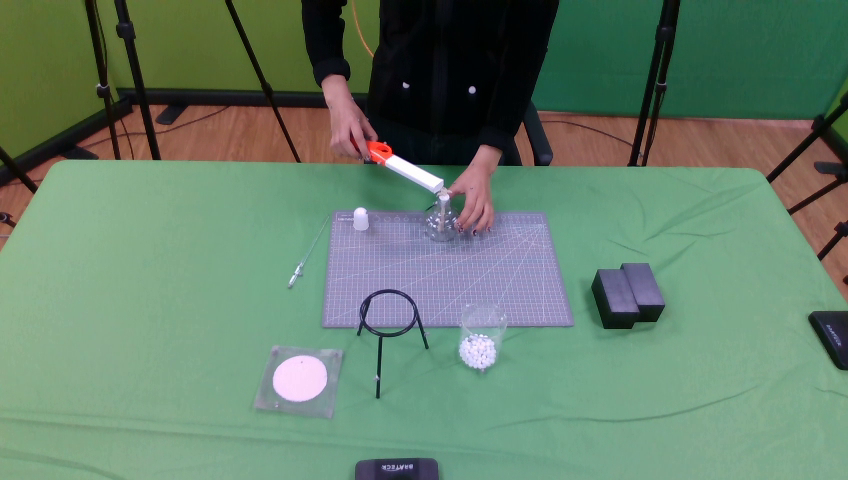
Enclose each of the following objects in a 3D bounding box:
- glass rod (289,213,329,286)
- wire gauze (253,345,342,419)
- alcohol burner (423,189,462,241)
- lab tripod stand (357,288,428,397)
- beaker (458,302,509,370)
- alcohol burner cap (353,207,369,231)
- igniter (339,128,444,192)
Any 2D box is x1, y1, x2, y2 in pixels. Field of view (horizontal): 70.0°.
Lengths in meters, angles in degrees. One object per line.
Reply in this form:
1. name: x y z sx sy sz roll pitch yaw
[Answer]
1. glass rod: -0.221 0.014 1.179 0.008 0.008 0.199 12 46 8
2. wire gauze: -0.200 0.224 0.979 0.125 0.011 0.121 7 47 0
3. alcohol burner: 0.036 -0.055 1.186 0.078 0.120 0.077 1 48 -1
4. lab tripod stand: -0.058 0.155 0.967 0.148 0.132 0.147 3 47 -3
5. beaker: 0.092 0.159 0.999 0.083 0.101 0.074 35 53 28
6. alcohol burner cap: -0.127 -0.046 1.215 0.034 0.048 0.033 3 47 -3
7. igniter: -0.074 -0.165 1.206 0.275 0.025 0.057 31 54 29
